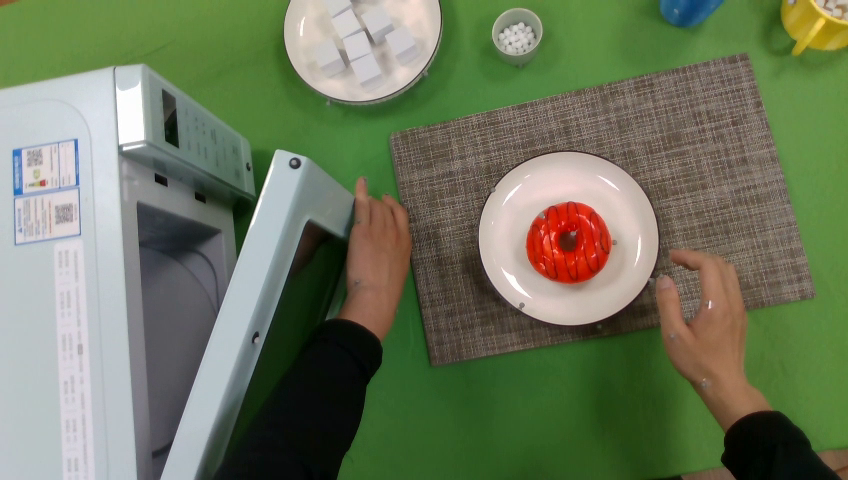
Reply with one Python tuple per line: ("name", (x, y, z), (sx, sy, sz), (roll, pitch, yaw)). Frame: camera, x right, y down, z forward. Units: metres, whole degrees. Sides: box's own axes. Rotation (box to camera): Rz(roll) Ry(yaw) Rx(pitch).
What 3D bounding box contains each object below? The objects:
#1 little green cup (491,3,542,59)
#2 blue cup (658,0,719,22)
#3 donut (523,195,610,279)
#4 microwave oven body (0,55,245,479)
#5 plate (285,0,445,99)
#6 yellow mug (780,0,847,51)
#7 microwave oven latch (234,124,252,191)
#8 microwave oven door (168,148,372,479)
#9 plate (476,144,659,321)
("little green cup", (0.116, -0.258, 0.758), (0.061, 0.039, 0.061), (-1, 82, 8))
("blue cup", (0.316, -0.305, 0.705), (0.092, 0.100, 0.092), (-1, 84, 7))
("donut", (0.165, -0.003, 0.705), (0.099, 0.048, 0.099), (-1, 86, 7))
("microwave oven body", (-0.373, 0.078, 0.666), (0.326, 0.261, 0.440), (-9, 82, 6))
("plate", (-0.075, -0.280, 0.787), (0.207, 0.039, 0.207), (-1, 83, 8))
("yellow mug", (0.468, -0.275, 0.698), (0.099, 0.064, 0.131), (37, 90, 10))
("microwave oven latch", (-0.237, -0.104, 0.768), (0.030, 0.029, 0.079), (-6, 83, 6))
("microwave oven door", (-0.150, 0.103, 0.627), (0.039, 0.245, 0.355), (17, 85, 11))
("plate", (0.166, -0.008, 0.717), (0.209, 0.038, 0.208), (-1, 83, 8))
